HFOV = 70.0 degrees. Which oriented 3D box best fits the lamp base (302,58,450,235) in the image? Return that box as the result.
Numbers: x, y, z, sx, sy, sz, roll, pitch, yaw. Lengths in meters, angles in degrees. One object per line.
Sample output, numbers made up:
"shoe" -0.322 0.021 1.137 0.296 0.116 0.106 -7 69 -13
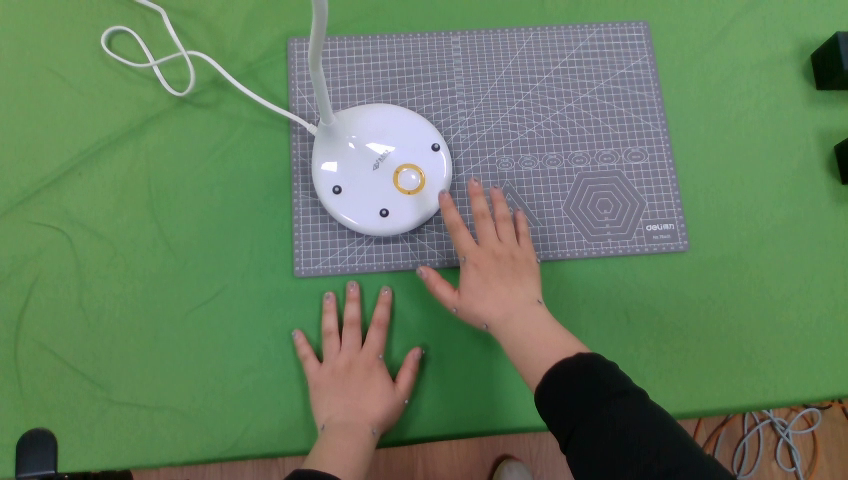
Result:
"lamp base" -0.061 -0.107 0.619 0.179 0.181 0.160 22 76 7
